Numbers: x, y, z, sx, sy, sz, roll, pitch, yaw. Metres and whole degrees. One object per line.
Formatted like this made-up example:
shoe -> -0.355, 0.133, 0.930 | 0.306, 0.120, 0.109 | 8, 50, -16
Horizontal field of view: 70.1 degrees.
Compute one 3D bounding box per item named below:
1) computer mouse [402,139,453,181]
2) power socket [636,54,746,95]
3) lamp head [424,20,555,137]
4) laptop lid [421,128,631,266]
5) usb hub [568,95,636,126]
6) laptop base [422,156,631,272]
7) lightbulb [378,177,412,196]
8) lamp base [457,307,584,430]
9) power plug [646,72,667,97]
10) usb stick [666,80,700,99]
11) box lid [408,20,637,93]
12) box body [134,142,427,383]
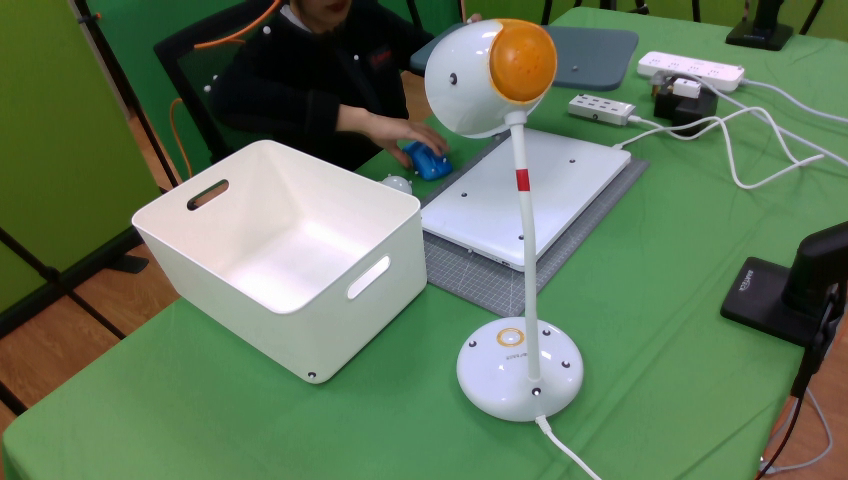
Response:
computer mouse -> 0.005, -0.159, 1.165 | 0.063, 0.041, 0.116 | -21, 45, -17
power socket -> 0.564, -0.357, 1.293 | 0.225, 0.033, 0.072 | 24, 51, 33
lamp head -> 0.069, -0.153, 0.572 | 0.113, 0.112, 0.122 | -22, 16, -14
laptop lid -> 0.173, -0.093, 1.049 | 0.239, 0.013, 0.358 | 24, 50, 36
usb hub -> 0.360, -0.263, 1.228 | 0.124, 0.025, 0.049 | 24, 48, 34
laptop base -> 0.176, -0.084, 1.055 | 0.233, 0.023, 0.355 | 21, 48, 36
lightbulb -> -0.065, -0.086, 1.084 | 0.060, 0.060, 0.107 | -38, 31, -30
lamp base -> 0.115, 0.108, 0.713 | 0.161, 0.181, 0.178 | -16, 43, -8
power plug -> 0.493, -0.321, 1.262 | 0.073, 0.052, 0.035 | -2, 25, -41
usb stick -> 0.492, -0.288, 1.152 | 0.058, 0.027, 0.021 | 20, 51, 34
box lid -> 0.184, -0.339, 1.096 | 0.369, 0.015, 0.263 | 13, 40, 20
box body -> -0.201, 0.018, 0.896 | 0.361, 0.161, 0.255 | 23, 50, 33
